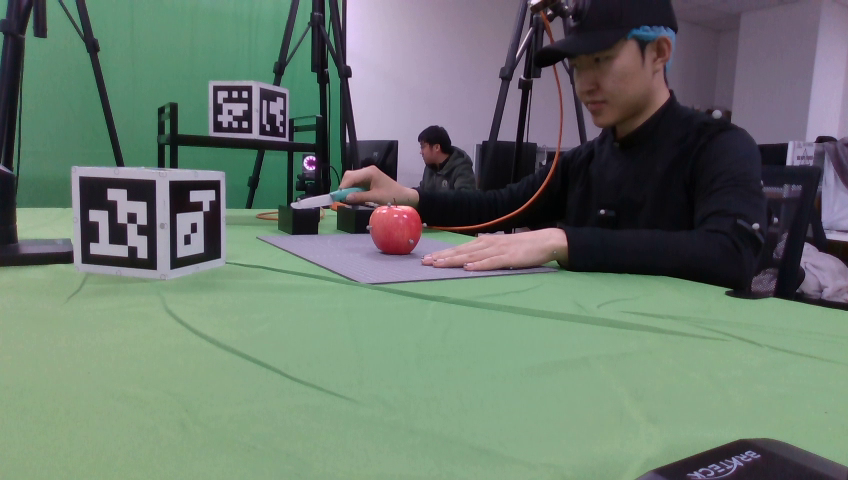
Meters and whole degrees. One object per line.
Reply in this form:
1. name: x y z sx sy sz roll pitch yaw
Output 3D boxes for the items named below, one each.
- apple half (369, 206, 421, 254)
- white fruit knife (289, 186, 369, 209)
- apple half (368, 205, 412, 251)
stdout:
1. apple half: -0.039 -0.014 0.919 0.081 0.074 0.053 3 10 -32
2. white fruit knife: -0.180 -0.083 1.178 0.016 0.027 0.208 17 21 35
3. apple half: -0.059 -0.020 0.951 0.082 0.081 0.032 -2 14 -31
